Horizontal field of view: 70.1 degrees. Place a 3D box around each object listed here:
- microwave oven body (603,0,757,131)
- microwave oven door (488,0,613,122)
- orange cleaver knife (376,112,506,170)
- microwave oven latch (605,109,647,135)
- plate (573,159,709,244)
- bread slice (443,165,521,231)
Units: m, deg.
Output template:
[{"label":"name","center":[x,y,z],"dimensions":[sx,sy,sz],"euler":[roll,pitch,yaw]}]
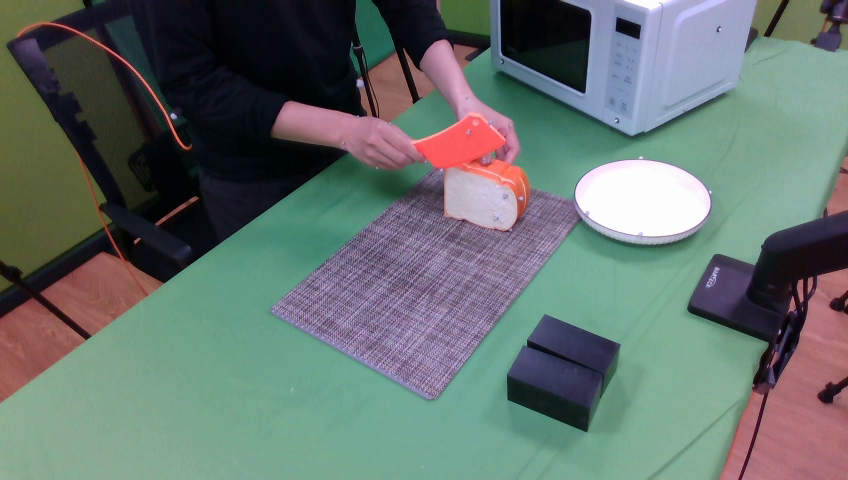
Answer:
[{"label":"microwave oven body","center":[0.396,-0.448,1.248],"dimensions":[0.327,0.261,0.437],"euler":[-27,44,-21]},{"label":"microwave oven door","center":[0.250,-0.412,1.219],"dimensions":[0.039,0.245,0.352],"euler":[-27,44,-21]},{"label":"orange cleaver knife","center":[0.021,-0.135,0.903],"dimensions":[0.210,0.078,0.012],"euler":[-13,42,35]},{"label":"microwave oven latch","center":[0.379,-0.225,1.139],"dimensions":[0.030,0.029,0.078],"euler":[-26,43,-20]},{"label":"plate","center":[0.347,-0.059,0.978],"dimensions":[0.207,0.039,0.206],"euler":[-4,41,4]},{"label":"bread slice","center":[0.091,-0.068,0.966],"dimensions":[0.133,0.107,0.018],"euler":[16,46,25]}]
